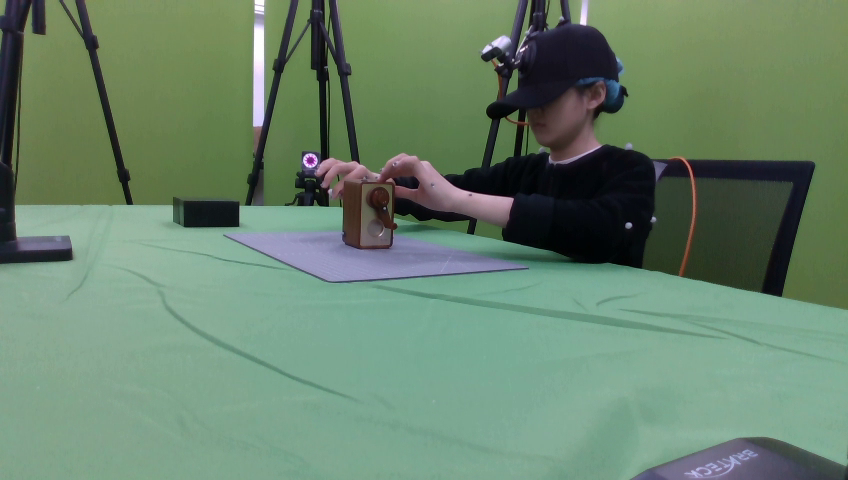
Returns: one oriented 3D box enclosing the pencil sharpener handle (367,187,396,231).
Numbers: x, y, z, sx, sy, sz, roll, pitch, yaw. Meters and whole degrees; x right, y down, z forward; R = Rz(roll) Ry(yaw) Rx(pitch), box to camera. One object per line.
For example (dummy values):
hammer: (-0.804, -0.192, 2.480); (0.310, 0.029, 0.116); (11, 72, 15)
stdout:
pencil sharpener handle: (-0.060, -0.047, 0.916); (0.036, 0.068, 0.030); (-22, 19, -25)

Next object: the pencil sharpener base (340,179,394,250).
pencil sharpener base: (-0.090, -0.041, 0.959); (0.061, 0.107, 0.076); (-1, 9, -30)

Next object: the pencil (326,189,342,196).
pencil: (-0.129, -0.077, 1.028); (0.012, 0.012, 0.193); (-1, 8, -29)
